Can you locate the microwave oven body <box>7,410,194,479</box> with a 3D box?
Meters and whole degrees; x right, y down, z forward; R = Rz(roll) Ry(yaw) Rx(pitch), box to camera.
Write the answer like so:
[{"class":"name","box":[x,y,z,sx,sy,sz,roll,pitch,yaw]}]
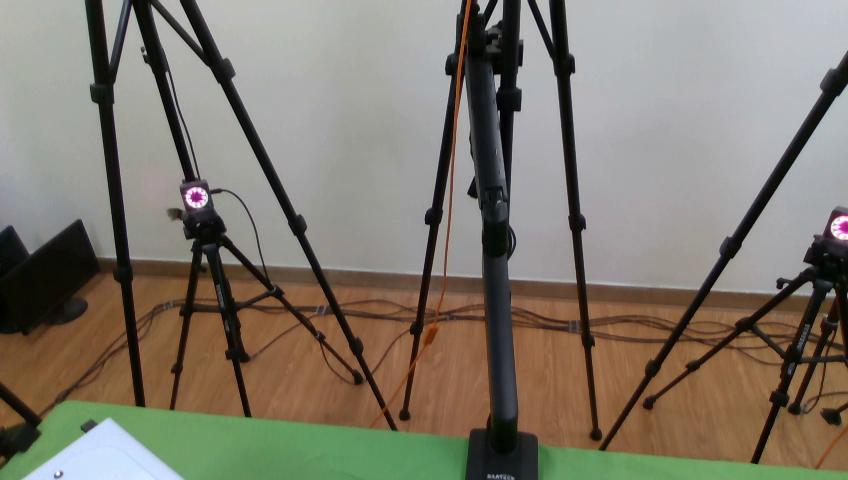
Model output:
[{"class":"microwave oven body","box":[-0.443,0.475,0.690,0.323,0.262,0.441,21,42,30]}]
